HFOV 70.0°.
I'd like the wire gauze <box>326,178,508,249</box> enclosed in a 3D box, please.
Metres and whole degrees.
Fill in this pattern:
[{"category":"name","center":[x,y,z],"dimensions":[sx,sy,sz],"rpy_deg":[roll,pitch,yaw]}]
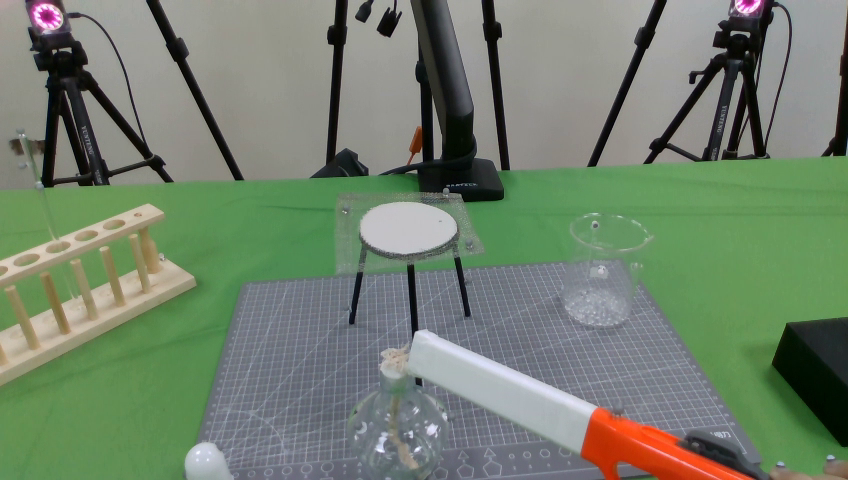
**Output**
[{"category":"wire gauze","center":[-0.009,-0.023,0.516],"dimensions":[0.125,0.011,0.120],"rpy_deg":[-8,28,-26]}]

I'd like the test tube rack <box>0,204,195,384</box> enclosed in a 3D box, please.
[{"category":"test tube rack","center":[-0.363,0.054,0.605],"dimensions":[0.066,0.086,0.242],"rpy_deg":[24,39,34]}]

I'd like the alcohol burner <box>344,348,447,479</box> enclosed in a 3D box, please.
[{"category":"alcohol burner","center":[-0.021,0.126,0.451],"dimensions":[0.078,0.120,0.077],"rpy_deg":[1,31,0]}]

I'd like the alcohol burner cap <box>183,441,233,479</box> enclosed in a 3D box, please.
[{"category":"alcohol burner cap","center":[-0.162,0.170,0.450],"dimensions":[0.034,0.048,0.033],"rpy_deg":[1,32,0]}]

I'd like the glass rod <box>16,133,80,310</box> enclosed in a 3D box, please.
[{"category":"glass rod","center":[-0.358,-0.009,0.580],"dimensions":[0.008,0.201,0.008],"rpy_deg":[3,34,-2]}]

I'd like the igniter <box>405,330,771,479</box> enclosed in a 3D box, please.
[{"category":"igniter","center":[0.102,0.115,0.343],"dimensions":[0.274,0.057,0.025],"rpy_deg":[20,13,32]}]

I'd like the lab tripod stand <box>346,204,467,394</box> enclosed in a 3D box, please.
[{"category":"lab tripod stand","center":[-0.013,0.046,0.563],"dimensions":[0.148,0.132,0.147],"rpy_deg":[1,33,0]}]

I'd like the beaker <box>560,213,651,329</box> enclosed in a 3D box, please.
[{"category":"beaker","center":[0.180,0.033,0.614],"dimensions":[0.084,0.101,0.073],"rpy_deg":[1,32,2]}]
